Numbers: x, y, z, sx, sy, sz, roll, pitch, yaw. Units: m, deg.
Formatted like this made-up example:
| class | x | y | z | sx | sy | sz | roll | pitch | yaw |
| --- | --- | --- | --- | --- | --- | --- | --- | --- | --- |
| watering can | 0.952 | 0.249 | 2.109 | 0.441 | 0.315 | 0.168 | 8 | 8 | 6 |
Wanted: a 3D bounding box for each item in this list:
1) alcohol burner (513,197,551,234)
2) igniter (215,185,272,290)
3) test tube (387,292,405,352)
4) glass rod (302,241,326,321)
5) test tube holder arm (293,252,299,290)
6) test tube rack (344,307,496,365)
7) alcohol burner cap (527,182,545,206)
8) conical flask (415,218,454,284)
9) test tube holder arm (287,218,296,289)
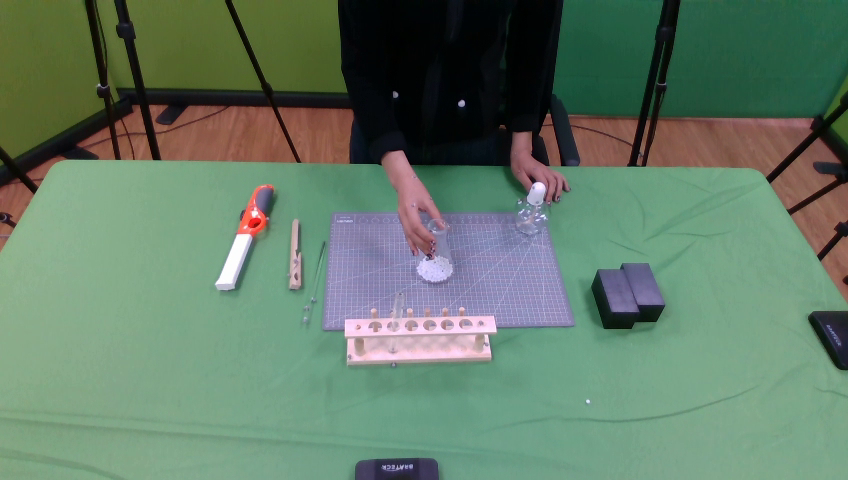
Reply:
| class | x | y | z | sx | sy | sz | roll | pitch | yaw |
| --- | --- | --- | --- | --- | --- | --- | --- | --- | --- |
| alcohol burner | 0.220 | -0.069 | 1.217 | 0.078 | 0.119 | 0.077 | 3 | 47 | -3 |
| igniter | -0.347 | -0.014 | 1.182 | 0.057 | 0.025 | 0.275 | -1 | 45 | 8 |
| test tube | -0.045 | 0.133 | 0.956 | 0.017 | 0.151 | 0.017 | 5 | 47 | -5 |
| glass rod | -0.203 | 0.071 | 1.123 | 0.008 | 0.008 | 0.198 | 5 | 44 | 1 |
| test tube holder arm | -0.241 | 0.056 | 1.131 | 0.010 | 0.015 | 0.087 | 25 | 35 | -33 |
| test tube rack | -0.009 | 0.154 | 1.007 | 0.242 | 0.085 | 0.066 | -1 | 46 | -5 |
| alcohol burner cap | 0.222 | -0.092 | 1.190 | 0.034 | 0.048 | 0.033 | 2 | 54 | -3 |
| conical flask | 0.021 | 0.016 | 1.112 | 0.075 | 0.122 | 0.075 | 1 | 44 | -1 |
| test tube holder arm | -0.253 | 0.022 | 1.158 | 0.013 | 0.015 | 0.177 | 24 | 36 | -34 |
